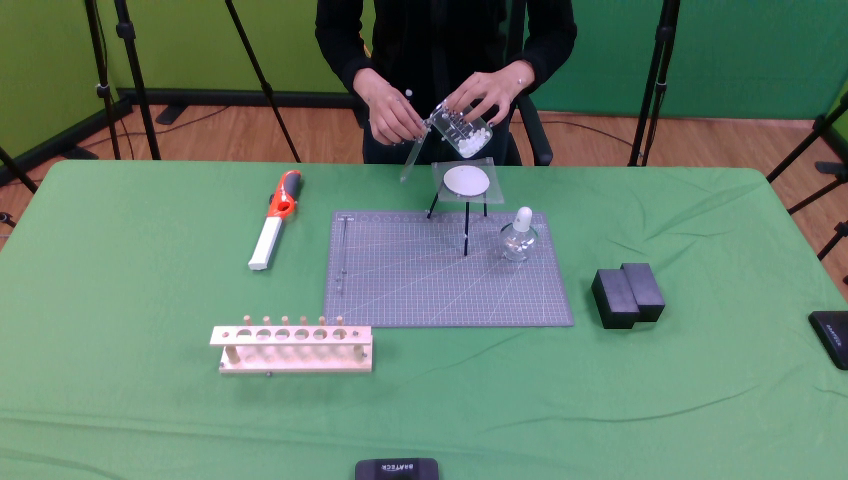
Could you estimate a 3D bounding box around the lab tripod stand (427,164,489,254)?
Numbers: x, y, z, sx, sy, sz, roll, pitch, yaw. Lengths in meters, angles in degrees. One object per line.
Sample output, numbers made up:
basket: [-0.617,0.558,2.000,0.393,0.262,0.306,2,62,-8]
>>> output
lab tripod stand: [0.078,-0.068,1.188,0.148,0.132,0.147,3,47,-3]

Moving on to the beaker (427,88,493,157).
beaker: [0.064,-0.201,1.060,0.100,0.084,0.073,45,33,-13]

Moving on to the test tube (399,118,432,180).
test tube: [-0.018,-0.165,1.125,0.017,0.150,0.017,13,47,-14]

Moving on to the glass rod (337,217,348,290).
glass rod: [-0.158,0.021,1.171,0.008,0.008,0.198,1,43,-2]

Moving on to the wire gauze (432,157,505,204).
wire gauze: [0.081,-0.112,1.137,0.125,0.011,0.120,-2,48,-6]

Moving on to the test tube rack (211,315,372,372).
test tube rack: [-0.208,0.163,0.982,0.242,0.085,0.066,1,46,-4]

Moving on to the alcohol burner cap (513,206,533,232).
alcohol burner cap: [0.186,-0.042,1.134,0.034,0.048,0.033,6,41,-5]

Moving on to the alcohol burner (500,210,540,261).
alcohol burner: [0.185,-0.016,1.159,0.078,0.120,0.077,2,48,-2]

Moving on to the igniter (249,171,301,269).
igniter: [-0.297,-0.049,1.220,0.057,0.025,0.275,-1,45,9]
